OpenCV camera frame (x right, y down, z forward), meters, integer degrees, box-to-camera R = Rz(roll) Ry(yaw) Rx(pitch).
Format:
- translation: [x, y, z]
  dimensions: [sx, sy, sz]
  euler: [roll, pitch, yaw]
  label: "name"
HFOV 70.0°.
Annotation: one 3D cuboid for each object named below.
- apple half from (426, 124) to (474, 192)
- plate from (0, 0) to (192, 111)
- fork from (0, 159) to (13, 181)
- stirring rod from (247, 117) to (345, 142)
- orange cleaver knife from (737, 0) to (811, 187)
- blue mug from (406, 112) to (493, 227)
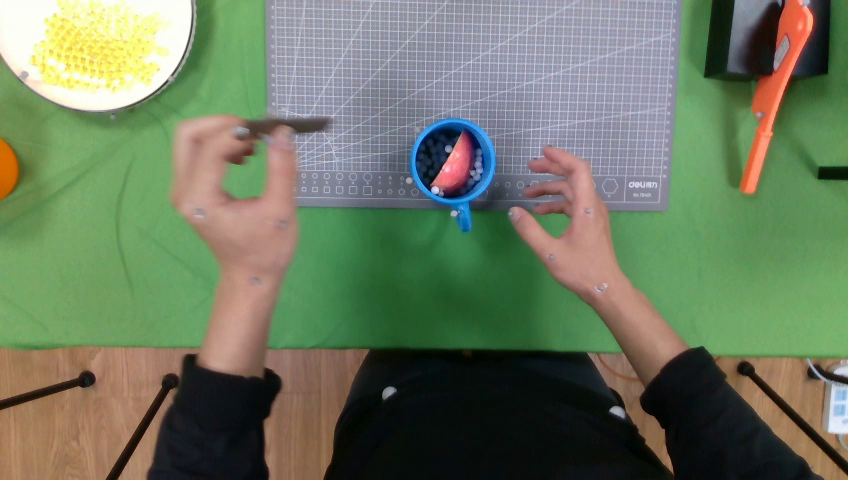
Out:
- translation: [0.033, -0.079, 0.620]
  dimensions: [0.033, 0.081, 0.081]
  euler: [33, 95, 1]
  label: "apple half"
- translation: [-0.341, -0.238, 0.620]
  dimensions: [0.209, 0.038, 0.209]
  euler: [0, 98, -2]
  label: "plate"
- translation: [-0.515, -0.088, 0.577]
  dimensions: [0.209, 0.018, 0.028]
  euler: [12, 97, -48]
  label: "fork"
- translation: [-0.085, -0.080, 0.433]
  dimensions: [0.006, 0.175, 0.014]
  euler: [43, 105, -2]
  label: "stirring rod"
- translation: [0.364, -0.160, 0.645]
  dimensions: [0.012, 0.076, 0.213]
  euler: [3, 124, 6]
  label: "orange cleaver knife"
- translation: [0.027, -0.070, 0.627]
  dimensions: [0.082, 0.105, 0.117]
  euler: [-15, 99, 0]
  label: "blue mug"
